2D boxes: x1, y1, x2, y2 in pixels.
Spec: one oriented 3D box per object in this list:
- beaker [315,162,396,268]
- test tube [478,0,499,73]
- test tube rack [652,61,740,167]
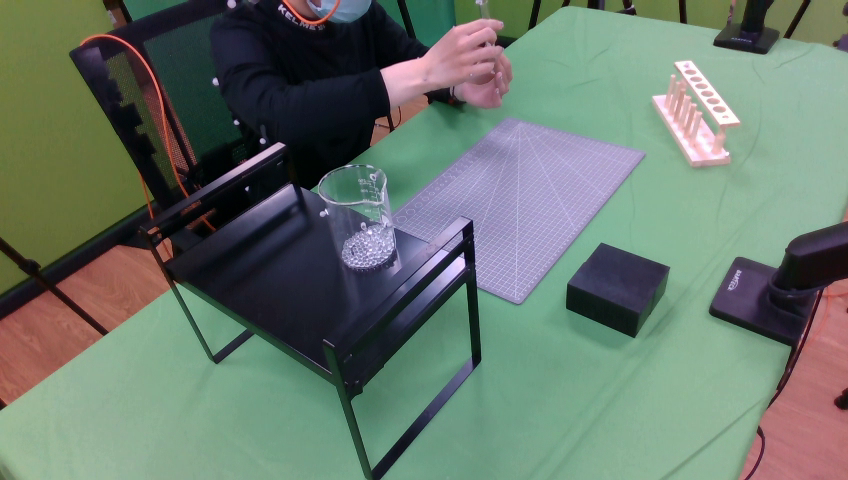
[{"bbox_3d":[-0.069,-0.024,0.671,0.083,0.101,0.074,27,52,32],"label":"beaker"},{"bbox_3d":[0.114,-0.350,1.048,0.017,0.151,0.017,-8,54,11],"label":"test tube"},{"bbox_3d":[0.499,-0.242,1.130,0.067,0.085,0.241,-5,41,3],"label":"test tube rack"}]
